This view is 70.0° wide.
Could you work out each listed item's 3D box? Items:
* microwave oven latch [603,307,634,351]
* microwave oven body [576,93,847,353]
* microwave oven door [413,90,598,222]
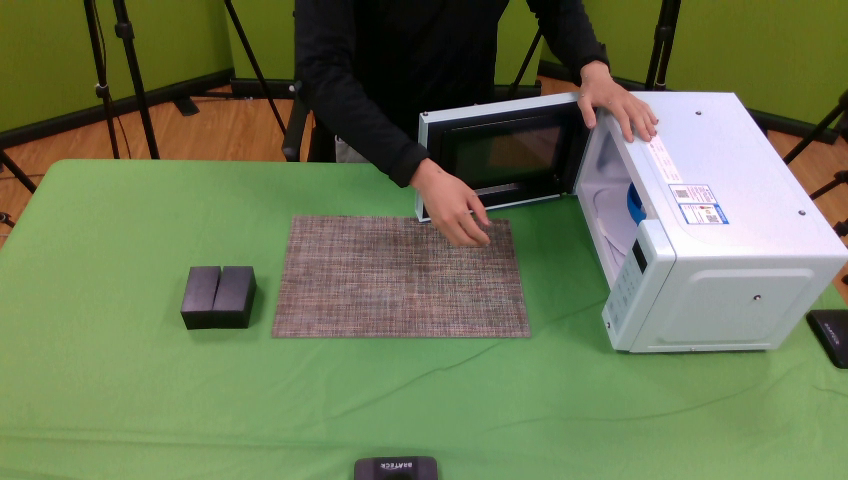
[{"bbox_3d":[0.332,0.153,1.044,0.030,0.029,0.078,0,45,-3],"label":"microwave oven latch"},{"bbox_3d":[0.475,-0.041,1.109,0.326,0.261,0.438,-1,45,-4],"label":"microwave oven body"},{"bbox_3d":[0.157,-0.164,1.197,0.356,0.245,0.039,-11,48,-15],"label":"microwave oven door"}]
